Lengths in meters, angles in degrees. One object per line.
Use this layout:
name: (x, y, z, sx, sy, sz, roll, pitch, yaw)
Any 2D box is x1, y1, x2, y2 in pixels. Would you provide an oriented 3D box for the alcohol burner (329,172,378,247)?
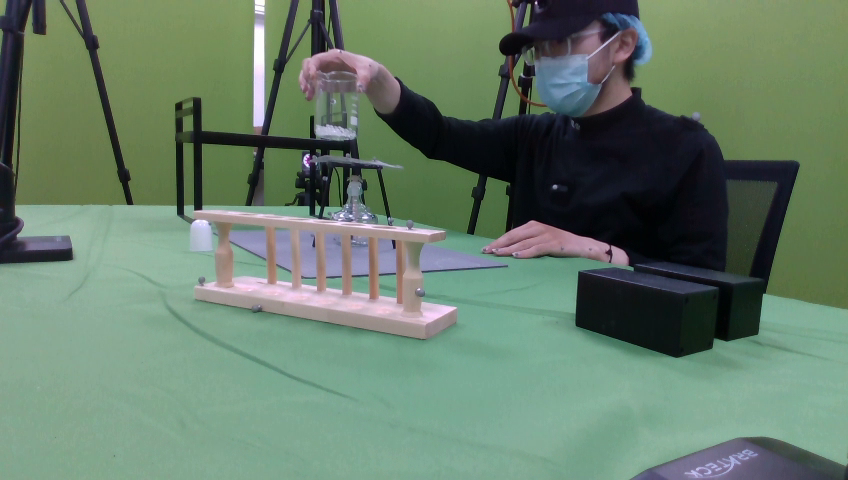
alcohol burner: (-0.113, -0.049, 0.972, 0.078, 0.119, 0.078, 1, 9, 0)

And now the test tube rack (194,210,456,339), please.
test tube rack: (-0.093, 0.023, 0.545, 0.241, 0.085, 0.067, 6, 8, 25)

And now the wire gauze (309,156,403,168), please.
wire gauze: (-0.111, -0.124, 0.956, 0.125, 0.011, 0.121, 2, 7, -22)

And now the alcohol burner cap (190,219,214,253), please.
alcohol burner cap: (-0.322, -0.006, 0.875, 0.034, 0.048, 0.034, 3, 8, 0)

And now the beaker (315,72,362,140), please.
beaker: (-0.141, -0.215, 0.975, 0.074, 0.100, 0.084, 3, 4, 12)

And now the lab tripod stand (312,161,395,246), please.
lab tripod stand: (-0.110, -0.058, 0.970, 0.148, 0.131, 0.148, 4, 6, 0)
